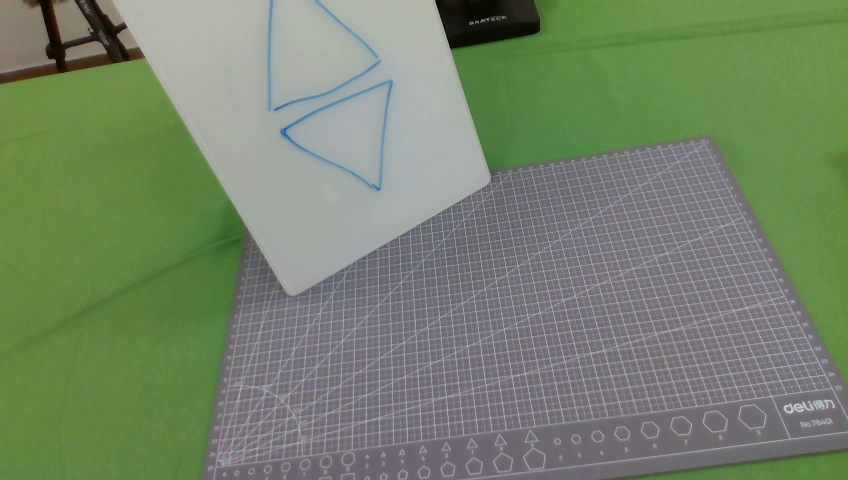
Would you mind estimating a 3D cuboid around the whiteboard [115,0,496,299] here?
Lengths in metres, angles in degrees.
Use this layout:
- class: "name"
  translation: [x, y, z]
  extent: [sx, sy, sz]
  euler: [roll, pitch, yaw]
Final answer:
- class: "whiteboard"
  translation: [-0.101, -0.147, 0.523]
  extent: [0.217, 0.308, 0.142]
  euler: [-30, 31, -12]
